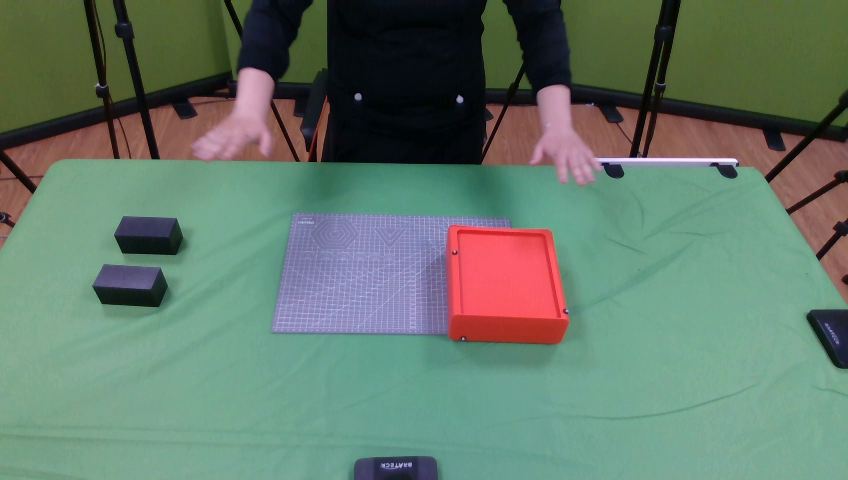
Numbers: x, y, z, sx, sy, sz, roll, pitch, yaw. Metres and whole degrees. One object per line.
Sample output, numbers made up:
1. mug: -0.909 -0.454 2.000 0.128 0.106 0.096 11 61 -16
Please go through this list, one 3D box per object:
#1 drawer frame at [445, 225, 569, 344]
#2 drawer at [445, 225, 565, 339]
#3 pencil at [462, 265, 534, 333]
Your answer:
1. drawer frame: 0.141 0.076 1.089 0.202 0.083 0.212 3 47 -4
2. drawer: 0.139 0.073 1.094 0.194 0.073 0.210 3 47 -3
3. pencil: 0.130 0.104 1.098 0.012 0.012 0.193 -26 51 -26
